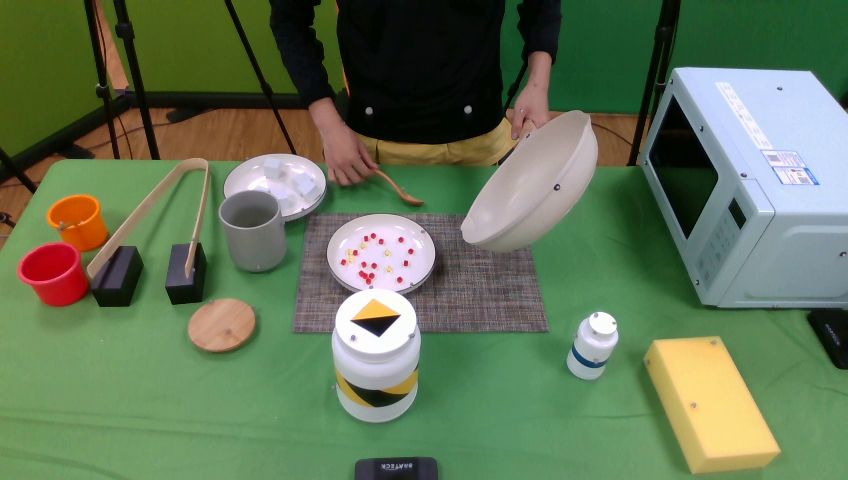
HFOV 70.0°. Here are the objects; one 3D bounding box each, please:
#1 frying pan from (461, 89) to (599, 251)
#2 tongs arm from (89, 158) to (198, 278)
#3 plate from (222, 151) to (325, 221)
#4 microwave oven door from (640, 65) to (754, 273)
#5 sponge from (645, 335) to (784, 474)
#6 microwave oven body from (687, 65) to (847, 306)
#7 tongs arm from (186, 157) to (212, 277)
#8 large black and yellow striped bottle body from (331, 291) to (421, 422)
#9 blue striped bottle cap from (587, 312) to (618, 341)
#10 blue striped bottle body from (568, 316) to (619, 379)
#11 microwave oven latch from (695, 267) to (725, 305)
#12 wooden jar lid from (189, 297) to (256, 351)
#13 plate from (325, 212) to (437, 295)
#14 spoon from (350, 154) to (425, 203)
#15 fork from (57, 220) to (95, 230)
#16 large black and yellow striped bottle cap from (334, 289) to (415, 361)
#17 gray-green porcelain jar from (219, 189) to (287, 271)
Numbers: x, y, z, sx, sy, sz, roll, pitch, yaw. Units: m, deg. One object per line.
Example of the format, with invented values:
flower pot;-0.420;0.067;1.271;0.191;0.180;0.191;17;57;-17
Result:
frying pan;0.198;-0.162;1.118;0.103;0.307;0.485;35;37;-21
tongs arm;-0.530;-0.057;1.164;0.028;0.028;0.385;1;36;8
plate;-0.310;-0.106;1.262;0.208;0.039;0.206;2;47;-2
microwave oven door;0.523;-0.147;1.193;0.039;0.245;0.353;0;47;-3
sponge;0.449;0.253;0.956;0.118;0.061;0.205;-4;46;-7
microwave oven body;0.669;-0.111;1.176;0.326;0.261;0.439;0;46;-3
tongs arm;-0.445;-0.058;1.168;0.051;0.026;0.382;-5;37;-6
large black and yellow striped bottle body;-0.071;0.175;0.911;0.131;0.185;0.130;2;47;-2
blue striped bottle cap;0.279;0.134;0.947;0.044;0.021;0.044;2;44;-2
blue striped bottle body;0.276;0.169;0.984;0.063;0.121;0.062;2;46;-2
microwave oven latch;0.524;0.082;1.115;0.030;0.029;0.078;4;46;1
wooden jar lid;-0.342;0.145;1.033;0.108;0.021;0.107;2;45;-2
plate;-0.080;0.030;1.143;0.209;0.038;0.208;2;46;-2
spoon;-0.079;-0.132;1.290;0.193;0.022;0.041;38;25;11
fork;-0.624;-0.027;1.086;0.028;0.207;0.018;-2;91;-17
large black and yellow striped bottle cap;-0.069;0.117;0.850;0.115;0.019;0.114;2;45;-2
gray-green porcelain jar;-0.310;-0.014;1.113;0.106;0.127;0.105;2;46;-2
